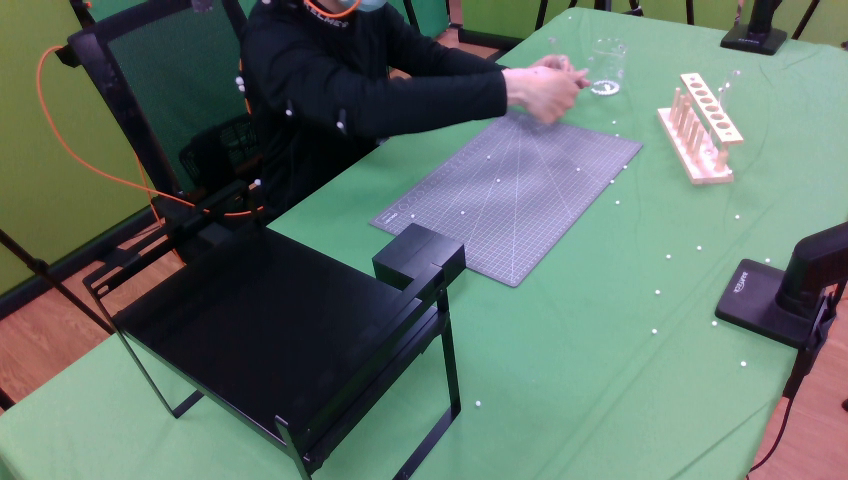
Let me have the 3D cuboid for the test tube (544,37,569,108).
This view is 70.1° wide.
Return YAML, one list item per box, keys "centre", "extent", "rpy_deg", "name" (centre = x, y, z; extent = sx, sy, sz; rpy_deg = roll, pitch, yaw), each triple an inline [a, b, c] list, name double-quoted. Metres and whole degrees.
- centre: [0.250, -0.310, 1.133]
  extent: [0.017, 0.151, 0.017]
  rpy_deg: [-15, 43, 15]
  name: "test tube"

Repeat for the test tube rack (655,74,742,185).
- centre: [0.488, -0.205, 1.093]
  extent: [0.067, 0.085, 0.241]
  rpy_deg: [-3, 41, 5]
  name: "test tube rack"

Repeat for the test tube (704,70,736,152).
- centre: [0.501, -0.216, 1.028]
  extent: [0.017, 0.151, 0.017]
  rpy_deg: [-2, 40, 2]
  name: "test tube"

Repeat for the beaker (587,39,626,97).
- centre: [0.386, -0.361, 1.280]
  extent: [0.074, 0.101, 0.083]
  rpy_deg: [-22, 43, -15]
  name: "beaker"
